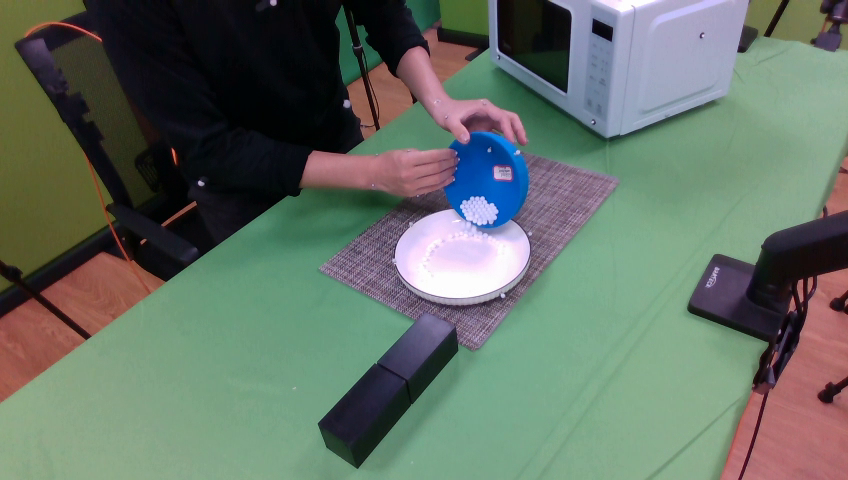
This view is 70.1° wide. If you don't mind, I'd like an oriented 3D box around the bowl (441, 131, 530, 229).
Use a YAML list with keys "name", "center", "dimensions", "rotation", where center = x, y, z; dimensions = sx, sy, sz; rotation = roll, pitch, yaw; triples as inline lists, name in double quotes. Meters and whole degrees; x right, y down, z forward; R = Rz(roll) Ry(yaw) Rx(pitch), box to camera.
- name: "bowl"
  center: [0.109, -0.100, 0.934]
  dimensions: [0.150, 0.151, 0.077]
  rotation: [25, 34, 32]

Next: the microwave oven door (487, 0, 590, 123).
- name: "microwave oven door"
  center: [0.232, -0.420, 1.230]
  dimensions: [0.039, 0.245, 0.352]
  rotation: [-22, 43, -16]

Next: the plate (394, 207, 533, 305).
- name: "plate"
  center: [0.059, 0.025, 0.915]
  dimensions: [0.207, 0.039, 0.206]
  rotation: [-4, 41, 4]

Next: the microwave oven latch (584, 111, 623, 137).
- name: "microwave oven latch"
  center: [0.337, -0.222, 1.142]
  dimensions: [0.030, 0.029, 0.078]
  rotation: [-21, 42, -14]

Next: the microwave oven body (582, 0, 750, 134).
- name: "microwave oven body"
  center: [0.382, -0.444, 1.246]
  dimensions: [0.327, 0.261, 0.437]
  rotation: [-22, 42, -16]
